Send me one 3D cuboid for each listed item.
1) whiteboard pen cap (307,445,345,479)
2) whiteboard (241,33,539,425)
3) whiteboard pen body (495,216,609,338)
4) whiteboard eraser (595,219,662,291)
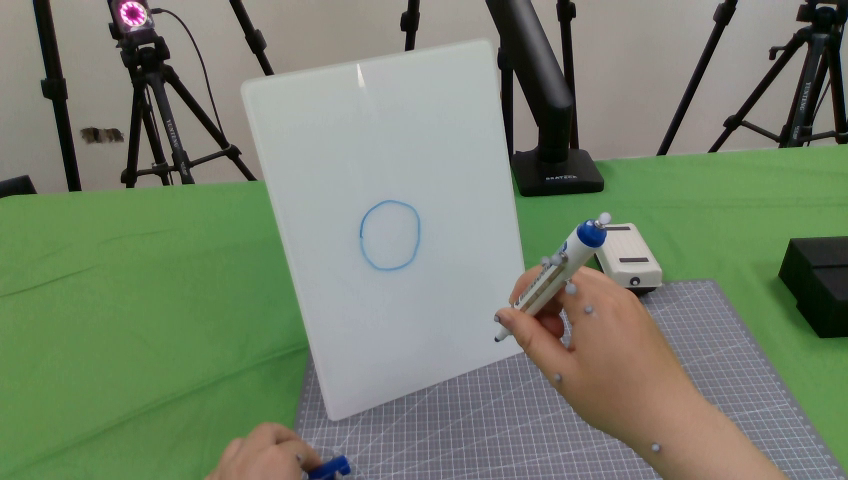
[{"bbox_3d":[-0.077,0.178,0.476,0.018,0.018,0.033,10,25,19],"label":"whiteboard pen cap"},{"bbox_3d":[-0.034,-0.020,0.592,0.218,0.307,0.142,-16,17,-17],"label":"whiteboard"},{"bbox_3d":[0.069,0.029,0.358,0.017,0.141,0.017,8,56,-13],"label":"whiteboard pen body"},{"bbox_3d":[0.229,0.016,0.697,0.055,0.042,0.111,-4,31,2],"label":"whiteboard eraser"}]
